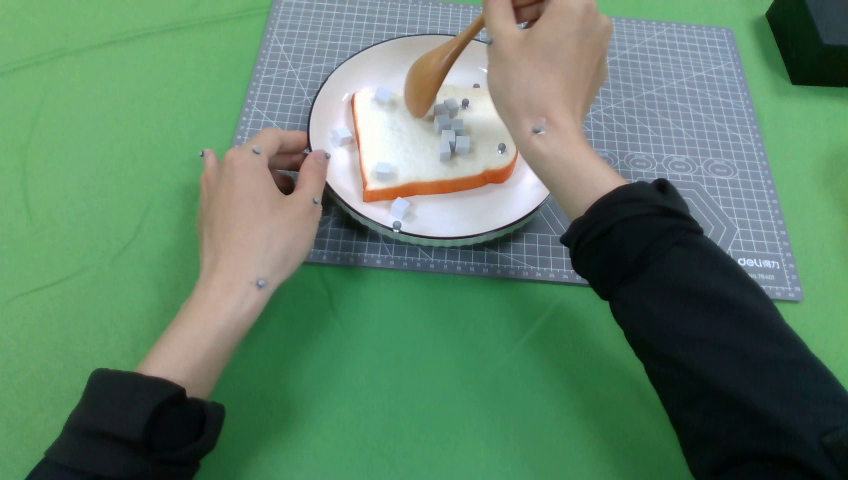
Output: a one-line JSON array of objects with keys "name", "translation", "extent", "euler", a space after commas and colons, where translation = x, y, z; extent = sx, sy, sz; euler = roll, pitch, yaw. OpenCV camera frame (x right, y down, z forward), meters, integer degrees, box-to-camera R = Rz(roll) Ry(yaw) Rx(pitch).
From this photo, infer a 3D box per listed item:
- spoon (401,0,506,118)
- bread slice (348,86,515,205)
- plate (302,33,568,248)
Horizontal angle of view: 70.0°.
[{"name": "spoon", "translation": [0.037, -0.157, 0.426], "extent": [0.022, 0.194, 0.041], "euler": [7, 53, -42]}, {"name": "bread slice", "translation": [0.007, -0.083, 0.492], "extent": [0.132, 0.019, 0.104], "euler": [-10, 62, -7]}, {"name": "plate", "translation": [0.009, -0.080, 0.486], "extent": [0.209, 0.038, 0.207], "euler": [2, 60, -3]}]
